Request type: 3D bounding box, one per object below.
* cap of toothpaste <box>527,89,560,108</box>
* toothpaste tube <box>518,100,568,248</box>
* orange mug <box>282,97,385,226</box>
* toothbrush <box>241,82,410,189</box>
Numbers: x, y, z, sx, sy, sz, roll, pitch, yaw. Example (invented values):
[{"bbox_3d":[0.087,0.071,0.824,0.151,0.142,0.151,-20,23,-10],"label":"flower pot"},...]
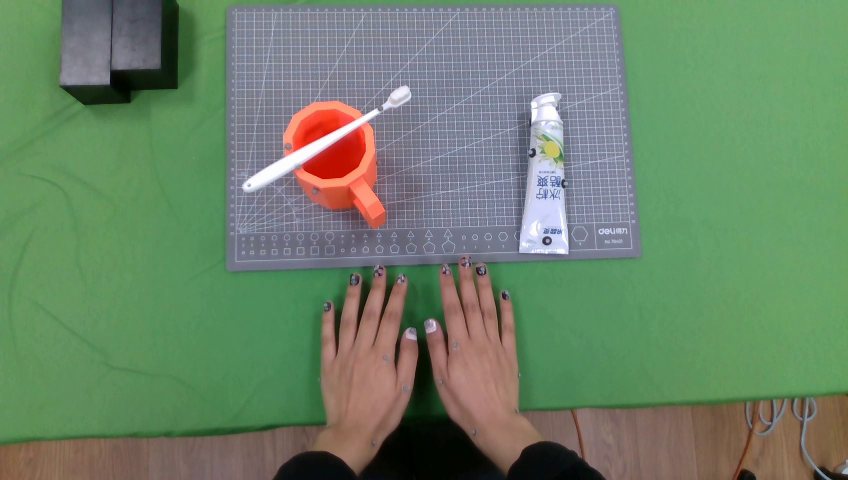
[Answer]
[{"bbox_3d":[0.133,-0.155,0.670,0.037,0.037,0.011,-11,79,-6],"label":"cap of toothpaste"},{"bbox_3d":[0.130,-0.073,0.664,0.055,0.034,0.164,0,86,4],"label":"toothpaste tube"},{"bbox_3d":[-0.082,-0.073,0.613,0.083,0.101,0.126,-36,81,-8],"label":"orange mug"},{"bbox_3d":[-0.090,-0.098,0.564,0.182,0.016,0.014,-33,90,-8],"label":"toothbrush"}]
